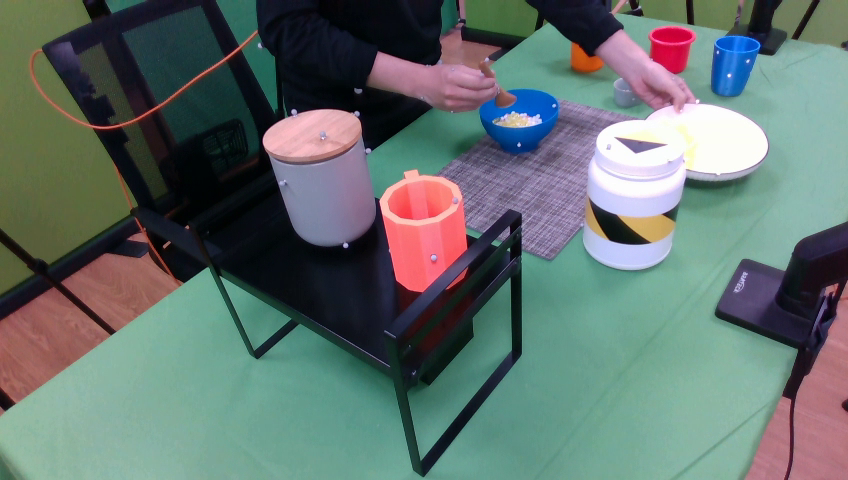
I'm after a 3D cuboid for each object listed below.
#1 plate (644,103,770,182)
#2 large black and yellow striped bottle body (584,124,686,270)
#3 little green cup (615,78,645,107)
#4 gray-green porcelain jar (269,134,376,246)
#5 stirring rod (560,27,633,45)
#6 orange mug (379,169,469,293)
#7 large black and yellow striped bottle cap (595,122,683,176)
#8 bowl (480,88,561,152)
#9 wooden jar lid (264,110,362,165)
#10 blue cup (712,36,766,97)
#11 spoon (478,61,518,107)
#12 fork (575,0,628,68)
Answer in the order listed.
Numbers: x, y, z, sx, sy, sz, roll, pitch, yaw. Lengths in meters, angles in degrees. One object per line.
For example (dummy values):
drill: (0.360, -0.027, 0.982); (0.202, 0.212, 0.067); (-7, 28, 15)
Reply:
plate: (0.482, -0.165, 1.048); (0.209, 0.038, 0.208); (-3, 44, 3)
large black and yellow striped bottle body: (0.304, -0.063, 0.880); (0.131, 0.185, 0.130); (-5, 41, 5)
little green cup: (0.426, -0.306, 1.257); (0.061, 0.039, 0.061); (-4, 40, 4)
gray-green porcelain jar: (-0.115, -0.064, 0.715); (0.106, 0.127, 0.105); (-4, 40, 4)
stirring rod: (0.381, -0.454, 1.344); (0.174, 0.006, 0.014); (26, 49, 33)
orange mug: (-0.002, -0.019, 0.665); (0.083, 0.101, 0.125); (-12, 44, -4)
large black and yellow striped bottle cap: (0.293, -0.126, 0.826); (0.115, 0.019, 0.114); (-3, 40, 3)
bowl: (0.185, -0.222, 1.160); (0.151, 0.077, 0.150); (-4, 40, 4)
wooden jar lid: (-0.122, -0.112, 0.673); (0.108, 0.021, 0.108); (-4, 37, 4)
blue cup: (0.627, -0.350, 1.227); (0.092, 0.100, 0.092); (-4, 39, 4)
spoon: (0.119, -0.257, 1.002); (0.041, 0.195, 0.021); (-15, 75, 20)
fork: (0.413, -0.481, 1.377); (0.207, 0.019, 0.028); (-56, 43, 12)
